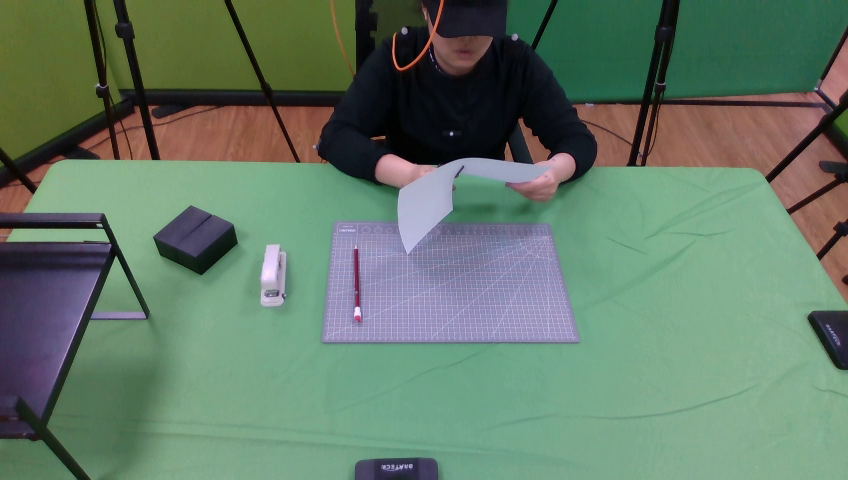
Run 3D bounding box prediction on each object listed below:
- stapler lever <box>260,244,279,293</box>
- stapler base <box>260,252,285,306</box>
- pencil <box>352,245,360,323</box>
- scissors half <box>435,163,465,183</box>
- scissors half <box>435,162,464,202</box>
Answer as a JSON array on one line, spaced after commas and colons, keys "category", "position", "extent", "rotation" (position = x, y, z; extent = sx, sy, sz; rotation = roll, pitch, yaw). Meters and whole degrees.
[{"category": "stapler lever", "position": [-0.279, 0.045, 1.096], "extent": [0.027, 0.040, 0.117], "rotation": [-2, 44, -9]}, {"category": "stapler base", "position": [-0.279, 0.064, 1.113], "extent": [0.041, 0.024, 0.129], "rotation": [-2, 44, -9]}, {"category": "pencil", "position": [-0.127, 0.076, 1.120], "extent": [0.012, 0.012, 0.192], "rotation": [-2, 44, -7]}, {"category": "scissors half", "position": [0.050, -0.134, 1.171], "extent": [0.013, 0.040, 0.175], "rotation": [2, 1, -15]}, {"category": "scissors half", "position": [0.051, -0.114, 1.168], "extent": [0.013, 0.175, 0.040], "rotation": [-3, 73, -16]}]
